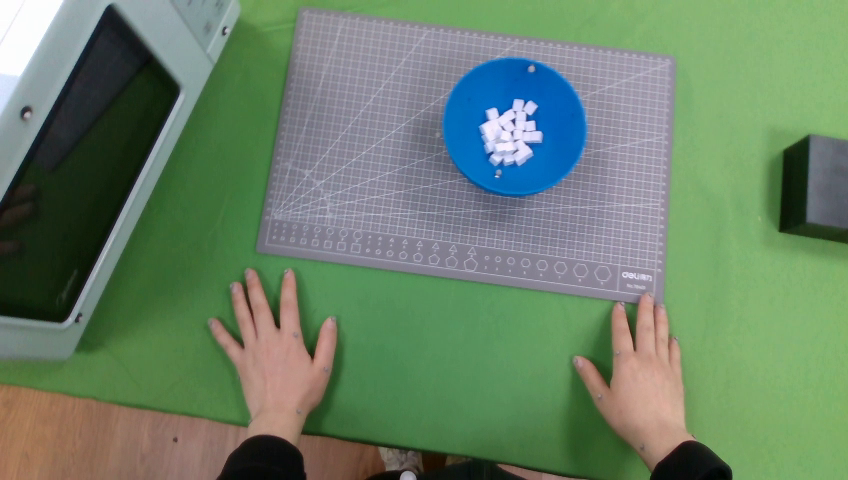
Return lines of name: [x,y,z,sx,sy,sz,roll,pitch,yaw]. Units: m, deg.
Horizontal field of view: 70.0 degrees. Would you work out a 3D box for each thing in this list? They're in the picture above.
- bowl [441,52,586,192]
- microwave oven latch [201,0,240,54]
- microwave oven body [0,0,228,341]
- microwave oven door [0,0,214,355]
bowl: [0.091,-0.116,0.656,0.151,0.077,0.151,0,80,-1]
microwave oven latch: [-0.232,-0.251,0.675,0.030,0.029,0.079,23,80,2]
microwave oven body: [-0.433,-0.161,0.554,0.326,0.261,0.440,21,80,2]
microwave oven door: [-0.312,-0.071,0.537,0.039,0.244,0.354,21,80,3]
